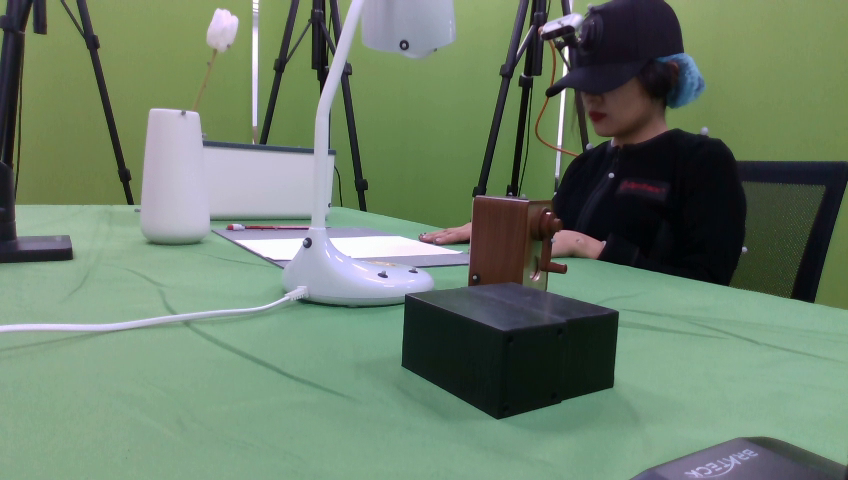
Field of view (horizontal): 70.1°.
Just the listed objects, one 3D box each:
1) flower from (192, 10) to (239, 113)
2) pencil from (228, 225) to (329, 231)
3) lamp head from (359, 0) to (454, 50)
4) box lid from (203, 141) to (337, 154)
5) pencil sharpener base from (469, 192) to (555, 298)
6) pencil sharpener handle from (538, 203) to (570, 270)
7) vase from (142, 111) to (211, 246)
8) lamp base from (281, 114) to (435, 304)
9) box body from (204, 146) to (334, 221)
[{"bbox_3d":[-0.354,-0.174,0.915,0.038,0.361,0.044,18,-4,12],"label":"flower"},{"bbox_3d":[-0.265,-0.023,1.124,0.195,0.012,0.012,-1,8,-32],"label":"pencil"},{"bbox_3d":[-0.024,-0.282,0.674,0.112,0.123,0.112,-3,38,3],"label":"lamp head"},{"bbox_3d":[-0.407,-0.209,1.370,0.373,0.015,0.262,-1,8,-31],"label":"box lid"},{"bbox_3d":[0.097,0.003,0.652,0.076,0.107,0.061,8,9,38],"label":"pencil sharpener base"},{"bbox_3d":[0.137,-0.003,0.619,0.030,0.067,0.036,8,4,38],"label":"pencil sharpener handle"},{"bbox_3d":[-0.378,-0.093,0.920,0.098,0.200,0.098,2,9,0],"label":"vase"},{"bbox_3d":[-0.071,-0.034,0.614,0.160,0.180,0.180,6,10,27],"label":"lamp base"},{"bbox_3d":[-0.413,-0.134,1.379,0.366,0.160,0.253,-2,9,-31],"label":"box body"}]
